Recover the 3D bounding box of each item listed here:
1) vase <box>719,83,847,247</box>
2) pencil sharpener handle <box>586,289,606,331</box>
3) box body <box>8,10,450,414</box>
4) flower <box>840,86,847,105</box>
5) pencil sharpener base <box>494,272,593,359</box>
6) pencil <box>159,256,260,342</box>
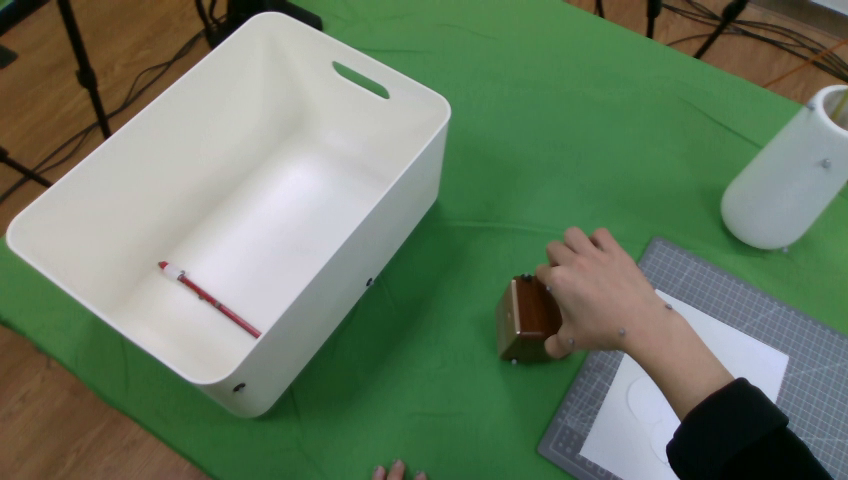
[{"bbox_3d":[0.403,-0.075,0.657,0.098,0.201,0.097,1,59,-1],"label":"vase"},{"bbox_3d":[0.168,0.073,0.593,0.031,0.068,0.035,-1,61,-4],"label":"pencil sharpener handle"},{"bbox_3d":[-0.169,-0.034,0.635,0.253,0.161,0.363,30,64,15],"label":"box body"},{"bbox_3d":[0.406,-0.129,0.592,0.044,0.364,0.038,23,45,15],"label":"flower"},{"bbox_3d":[0.116,0.077,0.601,0.077,0.107,0.061,-1,67,-4],"label":"pencil sharpener base"},{"bbox_3d":[-0.217,0.075,0.652,0.193,0.012,0.012,36,65,15],"label":"pencil"}]
